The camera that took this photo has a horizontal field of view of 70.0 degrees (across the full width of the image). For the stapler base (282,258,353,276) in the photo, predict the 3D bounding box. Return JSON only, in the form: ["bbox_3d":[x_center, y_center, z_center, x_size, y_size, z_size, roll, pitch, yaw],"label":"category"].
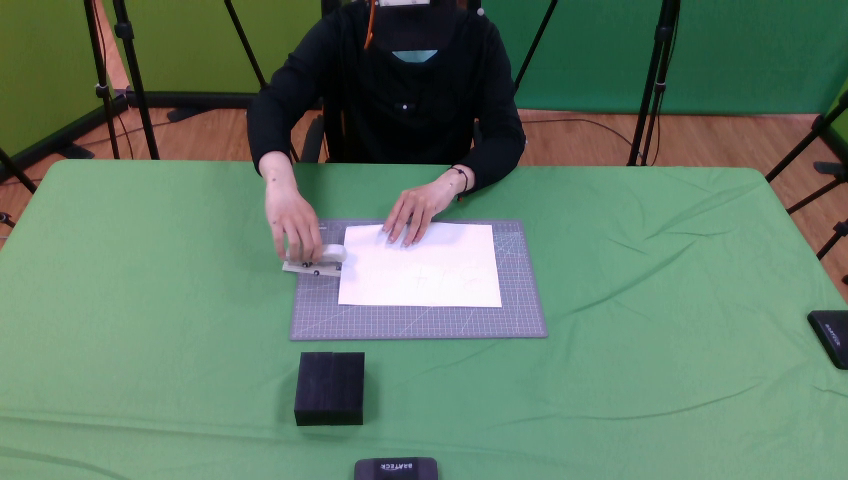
[{"bbox_3d":[-0.199,0.040,1.136,0.130,0.024,0.041,5,44,3],"label":"stapler base"}]

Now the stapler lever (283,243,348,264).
[{"bbox_3d":[-0.200,0.023,1.117,0.118,0.040,0.026,5,44,3],"label":"stapler lever"}]
